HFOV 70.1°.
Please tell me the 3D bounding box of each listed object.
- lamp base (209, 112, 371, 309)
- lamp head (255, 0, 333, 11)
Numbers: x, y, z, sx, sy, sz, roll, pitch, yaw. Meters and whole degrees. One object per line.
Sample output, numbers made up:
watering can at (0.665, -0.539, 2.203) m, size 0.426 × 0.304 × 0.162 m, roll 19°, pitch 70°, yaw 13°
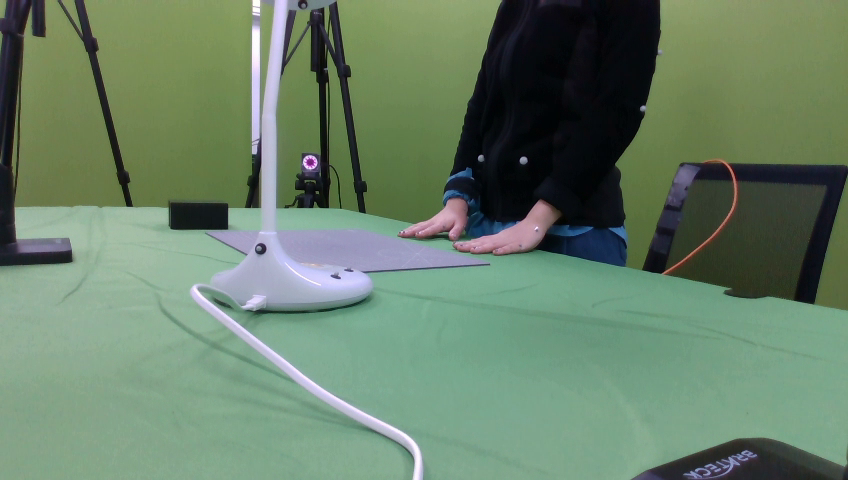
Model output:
lamp base at (-0.133, -0.032, 0.594) m, size 0.160 × 0.180 × 0.179 m, roll 2°, pitch 10°, yaw 3°
lamp head at (-0.141, -0.318, 0.630) m, size 0.113 × 0.112 × 0.123 m, roll 1°, pitch -32°, yaw -9°
